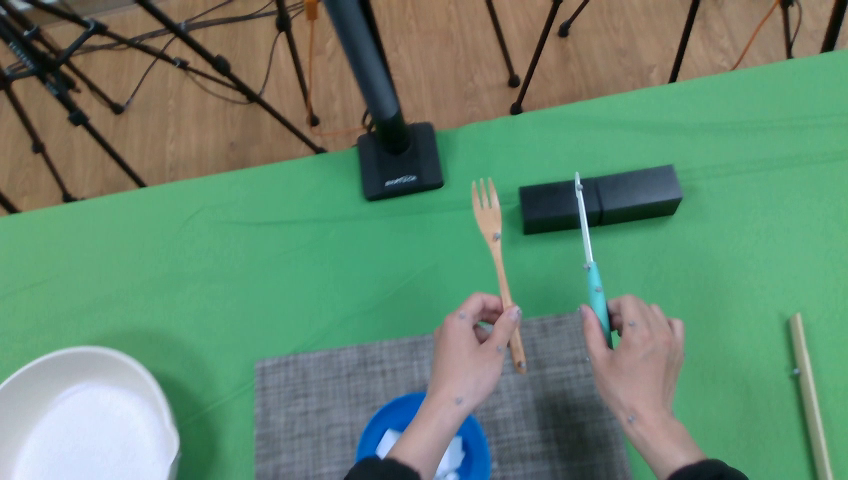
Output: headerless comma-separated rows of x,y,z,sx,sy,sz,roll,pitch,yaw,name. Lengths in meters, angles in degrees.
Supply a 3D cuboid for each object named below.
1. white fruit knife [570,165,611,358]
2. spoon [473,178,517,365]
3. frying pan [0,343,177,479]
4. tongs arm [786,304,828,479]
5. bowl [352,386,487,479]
0.172,0.024,0.634,0.016,0.027,0.207,-11,93,-2,white fruit knife
0.079,0.031,0.627,0.042,0.021,0.193,-4,81,-10,spoon
-0.430,0.365,0.703,0.307,0.104,0.483,-10,58,5,frying pan
0.441,0.257,0.657,0.028,0.028,0.384,-1,68,5,tongs arm
0.000,0.250,0.696,0.151,0.077,0.150,-3,67,7,bowl
